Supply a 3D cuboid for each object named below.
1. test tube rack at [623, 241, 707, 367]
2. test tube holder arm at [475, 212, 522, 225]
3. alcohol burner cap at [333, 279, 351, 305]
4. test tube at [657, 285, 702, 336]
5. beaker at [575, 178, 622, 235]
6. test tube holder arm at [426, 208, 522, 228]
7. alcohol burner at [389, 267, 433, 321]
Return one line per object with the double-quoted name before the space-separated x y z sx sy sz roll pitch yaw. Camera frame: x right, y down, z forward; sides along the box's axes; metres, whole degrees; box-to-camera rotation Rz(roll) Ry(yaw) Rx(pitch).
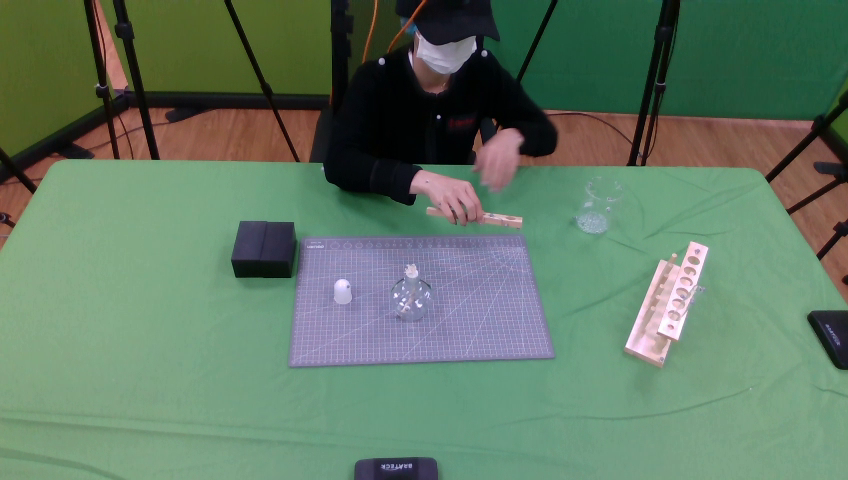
"test tube rack" 0.435 0.104 1.089 0.066 0.085 0.242 24 49 18
"test tube holder arm" 0.135 -0.039 1.110 0.088 0.015 0.010 7 32 10
"alcohol burner cap" -0.147 0.090 1.083 0.034 0.048 0.033 3 46 -2
"test tube" 0.418 0.121 1.000 0.017 0.151 0.017 4 51 -4
"beaker" 0.356 -0.068 1.239 0.084 0.101 0.073 -18 50 -21
"test tube holder arm" 0.090 -0.041 1.114 0.178 0.015 0.013 7 32 11
"alcohol burner" -0.022 0.085 1.046 0.078 0.119 0.077 2 48 -3
